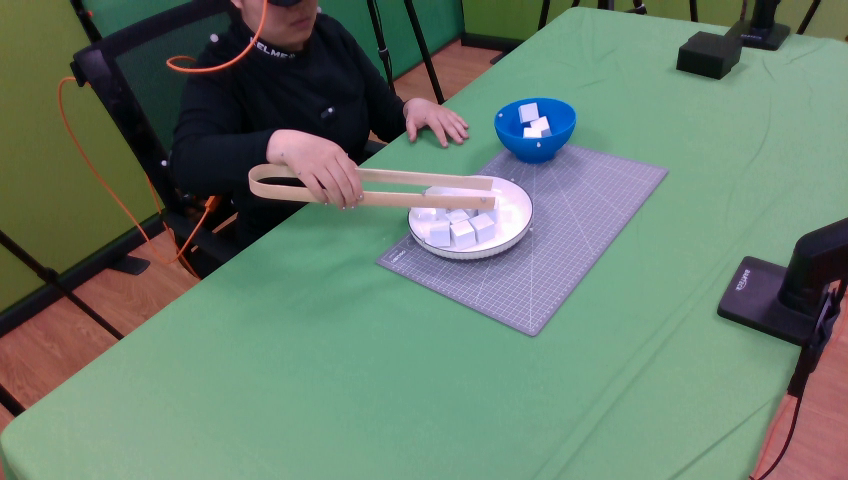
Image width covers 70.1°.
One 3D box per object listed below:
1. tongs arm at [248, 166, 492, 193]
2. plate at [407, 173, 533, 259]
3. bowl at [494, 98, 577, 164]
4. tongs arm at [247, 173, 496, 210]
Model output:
[{"bbox_3d":[-0.081,-0.095,0.972,0.389,0.028,0.028,2,44,-7],"label":"tongs arm"},{"bbox_3d":[0.076,-0.037,0.997,0.207,0.039,0.206,-5,40,5],"label":"plate"},{"bbox_3d":[0.207,-0.196,1.128,0.151,0.077,0.150,-5,40,5],"label":"bowl"},{"bbox_3d":[-0.080,-0.075,0.948,0.386,0.026,0.050,1,40,-8],"label":"tongs arm"}]
